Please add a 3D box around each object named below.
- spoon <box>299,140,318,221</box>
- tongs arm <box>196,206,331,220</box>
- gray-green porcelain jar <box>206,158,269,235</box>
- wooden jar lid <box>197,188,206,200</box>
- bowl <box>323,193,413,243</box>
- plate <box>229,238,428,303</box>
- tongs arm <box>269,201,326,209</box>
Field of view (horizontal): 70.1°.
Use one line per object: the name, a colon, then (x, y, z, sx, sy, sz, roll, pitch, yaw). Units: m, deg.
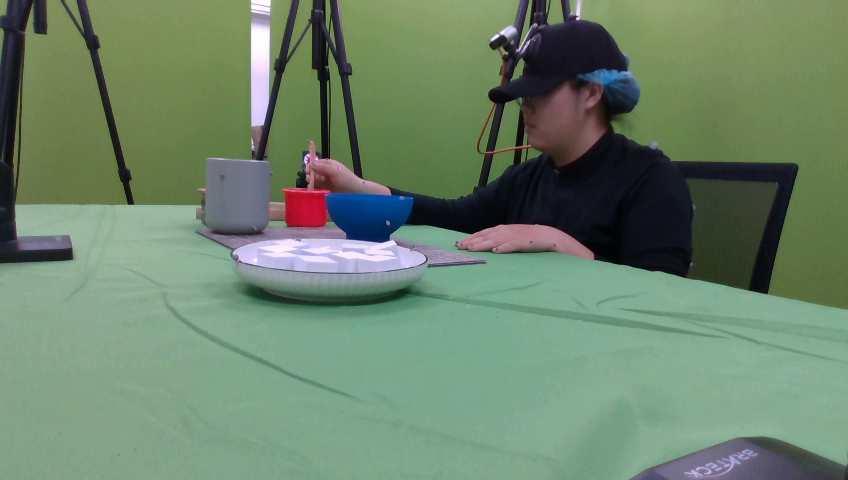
spoon: (-0.234, -0.125, 1.248, 0.042, 0.193, 0.021, 14, -28, -31)
tongs arm: (-0.294, -0.058, 1.330, 0.389, 0.028, 0.028, 0, 5, -19)
gray-green porcelain jar: (-0.323, -0.076, 1.048, 0.106, 0.126, 0.106, 3, 7, 0)
wooden jar lid: (-0.382, -0.088, 1.175, 0.108, 0.020, 0.108, 3, 8, 0)
bowl: (-0.094, -0.036, 1.015, 0.151, 0.077, 0.151, 2, 7, 0)
plate: (-0.099, 0.032, 0.651, 0.209, 0.038, 0.209, 3, 8, 0)
tongs arm: (-0.308, -0.073, 1.410, 0.385, 0.026, 0.050, 3, 8, -6)
